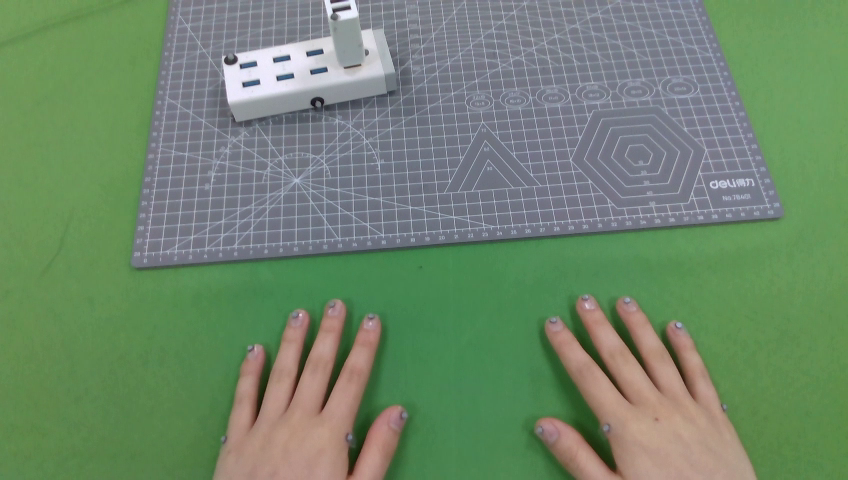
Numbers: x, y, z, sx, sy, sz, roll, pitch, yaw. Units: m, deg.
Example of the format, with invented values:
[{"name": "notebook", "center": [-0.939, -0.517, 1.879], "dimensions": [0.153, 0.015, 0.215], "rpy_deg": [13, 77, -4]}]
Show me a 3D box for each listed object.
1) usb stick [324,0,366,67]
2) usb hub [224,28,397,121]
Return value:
[{"name": "usb stick", "center": [-0.055, -0.146, 0.437], "dimensions": [0.021, 0.059, 0.027], "rpy_deg": [-14, 62, -6]}, {"name": "usb hub", "center": [-0.087, -0.129, 0.464], "dimensions": [0.125, 0.025, 0.049], "rpy_deg": [-12, 64, -6]}]
